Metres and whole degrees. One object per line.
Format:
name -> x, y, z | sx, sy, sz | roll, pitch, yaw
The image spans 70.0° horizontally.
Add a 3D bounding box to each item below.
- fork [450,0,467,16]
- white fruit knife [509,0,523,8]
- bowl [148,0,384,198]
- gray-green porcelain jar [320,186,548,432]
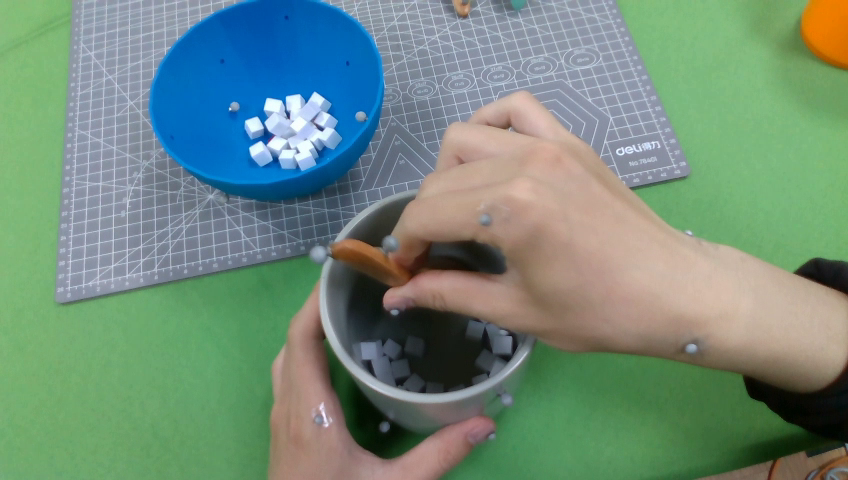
fork -> 0.005, -0.285, 0.503 | 0.028, 0.018, 0.206 | -14, 84, -9
white fruit knife -> 0.054, -0.293, 0.506 | 0.016, 0.027, 0.206 | -12, 79, -4
bowl -> -0.098, -0.085, 0.419 | 0.151, 0.077, 0.150 | -1, 66, 3
gray-green porcelain jar -> 0.008, 0.046, 0.331 | 0.106, 0.127, 0.105 | -1, 65, 3
